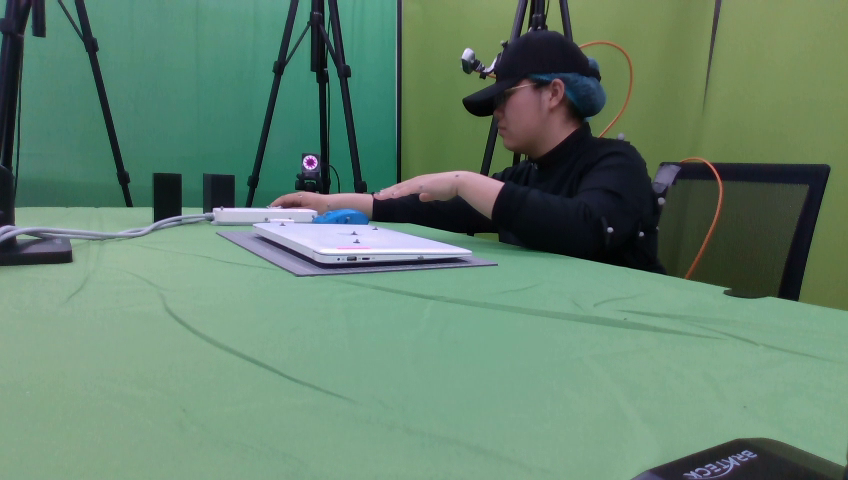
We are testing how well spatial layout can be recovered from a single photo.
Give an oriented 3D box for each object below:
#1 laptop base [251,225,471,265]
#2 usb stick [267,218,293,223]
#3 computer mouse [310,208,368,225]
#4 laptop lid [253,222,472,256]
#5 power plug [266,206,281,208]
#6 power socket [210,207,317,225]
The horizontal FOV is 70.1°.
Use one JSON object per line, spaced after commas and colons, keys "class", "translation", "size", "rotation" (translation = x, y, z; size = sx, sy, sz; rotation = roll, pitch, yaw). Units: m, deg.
{"class": "laptop base", "translation": [-0.116, 0.007, 0.955], "size": [0.237, 0.023, 0.352], "rotation": [2, 6, -31]}
{"class": "usb stick", "translation": [-0.272, -0.026, 1.108], "size": [0.059, 0.027, 0.021], "rotation": [-4, 11, -27]}
{"class": "computer mouse", "translation": [-0.179, -0.044, 1.275], "size": [0.118, 0.041, 0.062], "rotation": [-6, 13, -29]}
{"class": "laptop lid", "translation": [-0.113, -0.005, 0.955], "size": [0.243, 0.013, 0.355], "rotation": [1, 7, -29]}
{"class": "power plug", "translation": [-0.340, -0.049, 1.360], "size": [0.053, 0.072, 0.035], "rotation": [-28, 64, -22]}
{"class": "power socket", "translation": [-0.335, -0.051, 1.282], "size": [0.228, 0.032, 0.072], "rotation": [-1, 9, -28]}
